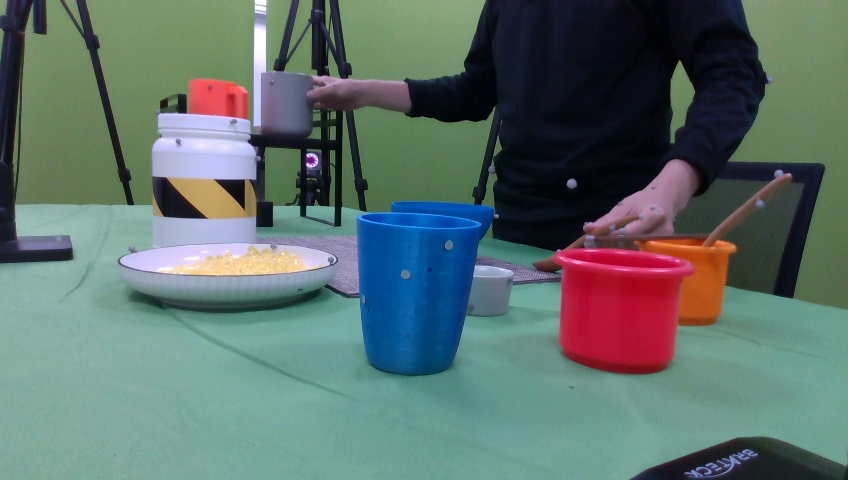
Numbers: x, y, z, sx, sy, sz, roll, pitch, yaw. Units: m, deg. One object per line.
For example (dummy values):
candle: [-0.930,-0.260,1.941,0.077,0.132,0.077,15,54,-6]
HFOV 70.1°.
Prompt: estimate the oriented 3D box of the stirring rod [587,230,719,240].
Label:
stirring rod: [0.226,-0.006,0.587,0.177,0.006,0.014,-2,9,-29]

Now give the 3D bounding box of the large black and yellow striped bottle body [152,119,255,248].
large black and yellow striped bottle body: [-0.296,-0.070,0.819,0.131,0.184,0.130,2,7,0]

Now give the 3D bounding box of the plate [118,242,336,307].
plate: [-0.194,0.033,0.615,0.209,0.038,0.209,2,7,0]

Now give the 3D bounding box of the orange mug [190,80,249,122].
orange mug: [-0.394,-0.257,1.173,0.126,0.100,0.084,1,6,25]

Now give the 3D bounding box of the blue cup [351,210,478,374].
blue cup: [-0.009,0.034,0.414,0.093,0.100,0.092,4,8,0]

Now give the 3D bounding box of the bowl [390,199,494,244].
bowl: [0.024,-0.015,0.872,0.151,0.077,0.151,3,7,0]

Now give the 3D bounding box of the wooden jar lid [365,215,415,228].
wooden jar lid: [-0.073,-0.040,1.291,0.108,0.020,0.108,3,8,0]

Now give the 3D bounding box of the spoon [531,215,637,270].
spoon: [0.192,0.004,0.744,0.042,0.021,0.193,14,-27,-19]

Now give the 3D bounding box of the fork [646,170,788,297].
fork: [0.256,0.004,0.543,0.028,0.018,0.207,3,-36,-9]

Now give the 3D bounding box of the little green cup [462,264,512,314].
little green cup: [0.053,0.047,0.580,0.061,0.038,0.061,3,8,0]

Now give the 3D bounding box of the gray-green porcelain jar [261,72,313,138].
gray-green porcelain jar: [-0.284,-0.277,1.253,0.106,0.126,0.106,2,8,0]

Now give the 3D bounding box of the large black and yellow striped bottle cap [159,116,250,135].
large black and yellow striped bottle cap: [-0.292,-0.153,0.810,0.115,0.019,0.115,3,8,0]
